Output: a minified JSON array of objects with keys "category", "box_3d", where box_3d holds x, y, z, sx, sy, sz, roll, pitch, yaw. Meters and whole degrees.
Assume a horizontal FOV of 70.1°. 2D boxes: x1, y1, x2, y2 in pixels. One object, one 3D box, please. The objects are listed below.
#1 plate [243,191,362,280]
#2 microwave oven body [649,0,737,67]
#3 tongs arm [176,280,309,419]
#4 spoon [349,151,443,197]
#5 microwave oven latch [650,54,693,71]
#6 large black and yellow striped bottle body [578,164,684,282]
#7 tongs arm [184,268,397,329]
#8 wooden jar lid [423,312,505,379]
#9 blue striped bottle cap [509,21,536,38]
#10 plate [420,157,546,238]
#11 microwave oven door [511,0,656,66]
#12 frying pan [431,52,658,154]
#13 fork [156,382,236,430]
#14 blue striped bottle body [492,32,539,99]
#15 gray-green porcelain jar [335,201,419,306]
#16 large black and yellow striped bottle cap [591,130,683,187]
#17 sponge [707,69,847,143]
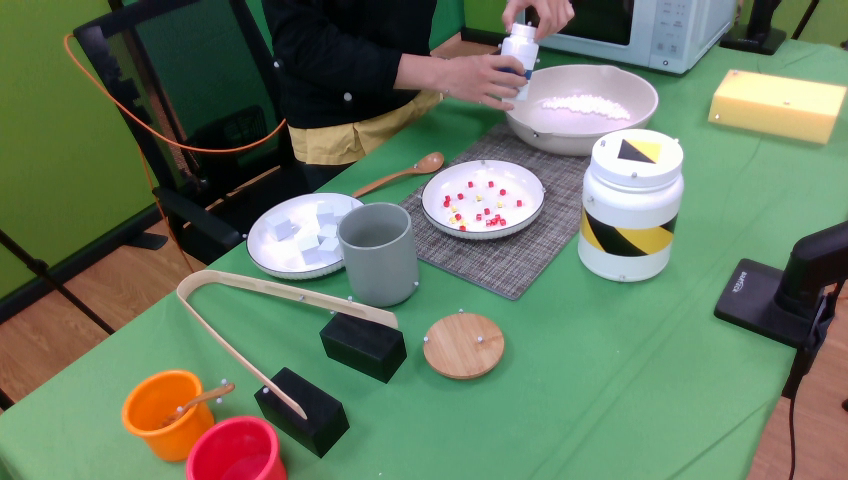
[{"category":"plate","box_3d":[-0.188,-0.005,0.992,0.207,0.039,0.206,-4,40,4]},{"category":"microwave oven body","box_3d":[0.475,-0.602,1.411,0.438,0.261,0.327,23,50,32]},{"category":"tongs arm","box_3d":[-0.254,0.133,0.801,0.028,0.028,0.384,-41,41,-23]},{"category":"spoon","box_3d":[-0.051,-0.122,1.120,0.194,0.022,0.041,-22,62,-18]},{"category":"microwave oven latch","box_3d":[0.531,-0.386,1.301,0.078,0.029,0.030,26,51,33]},{"category":"large black and yellow striped bottle body","box_3d":[0.291,-0.046,0.859,0.131,0.185,0.130,-4,41,4]},{"category":"tongs arm","box_3d":[-0.202,0.084,0.848,0.382,0.027,0.051,11,45,35]},{"category":"wooden jar lid","box_3d":[0.053,0.142,0.800,0.108,0.021,0.108,-5,39,4]},{"category":"blue striped bottle cap","box_3d":[0.170,-0.360,1.041,0.045,0.020,0.044,19,17,-5]},{"category":"plate","box_3d":[0.099,-0.067,1.017,0.209,0.038,0.208,-4,40,4]},{"category":"microwave oven door","box_3d":[0.351,-0.540,1.349,0.353,0.245,0.039,24,50,31]},{"category":"frying pan","box_3d":[0.216,-0.302,1.224,0.484,0.103,0.308,29,50,24]},{"category":"fork","box_3d":[-0.262,0.189,0.690,0.018,0.206,0.028,49,43,-7]},{"category":"blue striped bottle body","box_3d":[0.162,-0.313,1.060,0.063,0.121,0.063,10,21,-3]},{"category":"gray-green porcelain jar","box_3d":[-0.064,0.024,0.872,0.106,0.127,0.105,-4,41,4]},{"category":"large black and yellow striped bottle cap","box_3d":[0.282,-0.111,0.803,0.115,0.019,0.114,-3,41,3]},{"category":"sponge","box_3d":[0.663,-0.256,1.141,0.205,0.061,0.118,18,47,28]}]
